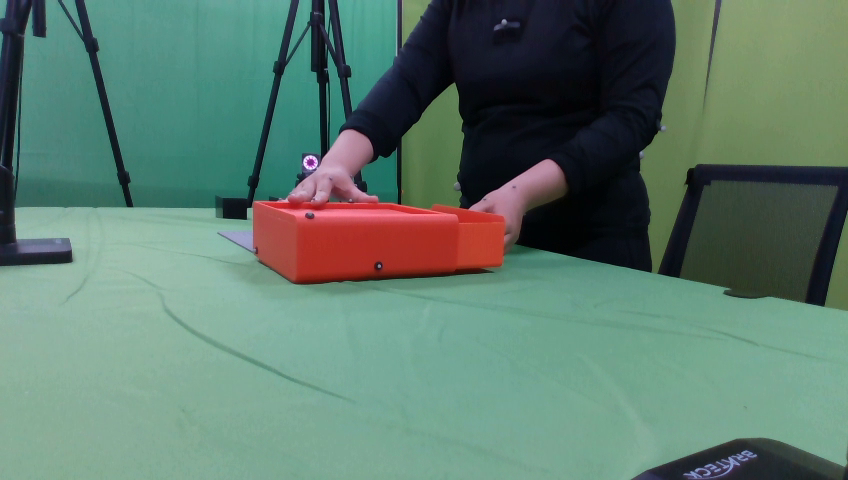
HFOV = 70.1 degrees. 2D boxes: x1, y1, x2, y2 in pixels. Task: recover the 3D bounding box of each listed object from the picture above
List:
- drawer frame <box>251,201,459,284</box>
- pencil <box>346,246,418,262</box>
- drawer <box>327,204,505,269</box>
[{"bbox_3d":[-0.095,-0.005,0.788,0.215,0.082,0.200,-2,10,-30],"label":"drawer frame"},{"bbox_3d":[-0.051,0.017,0.826,0.012,0.012,0.195,6,6,25],"label":"pencil"},{"bbox_3d":[-0.029,-0.007,0.827,0.213,0.073,0.193,-2,10,-30],"label":"drawer"}]
